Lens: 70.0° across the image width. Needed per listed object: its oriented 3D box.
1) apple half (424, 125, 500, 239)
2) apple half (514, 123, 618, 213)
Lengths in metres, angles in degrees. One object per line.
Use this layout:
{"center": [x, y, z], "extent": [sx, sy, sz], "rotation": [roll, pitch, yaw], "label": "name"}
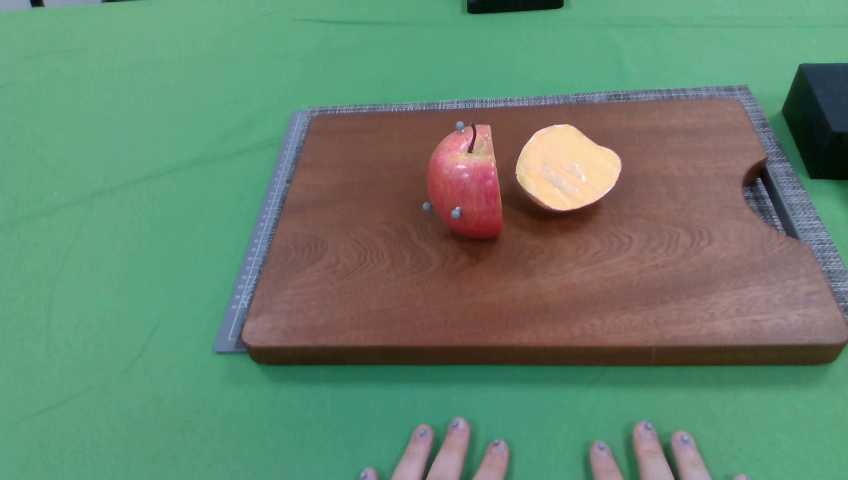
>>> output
{"center": [0.028, -0.041, 0.454], "extent": [0.053, 0.075, 0.080], "rotation": [-8, 50, 6], "label": "apple half"}
{"center": [0.108, -0.050, 0.480], "extent": [0.081, 0.033, 0.080], "rotation": [-2, 63, 4], "label": "apple half"}
